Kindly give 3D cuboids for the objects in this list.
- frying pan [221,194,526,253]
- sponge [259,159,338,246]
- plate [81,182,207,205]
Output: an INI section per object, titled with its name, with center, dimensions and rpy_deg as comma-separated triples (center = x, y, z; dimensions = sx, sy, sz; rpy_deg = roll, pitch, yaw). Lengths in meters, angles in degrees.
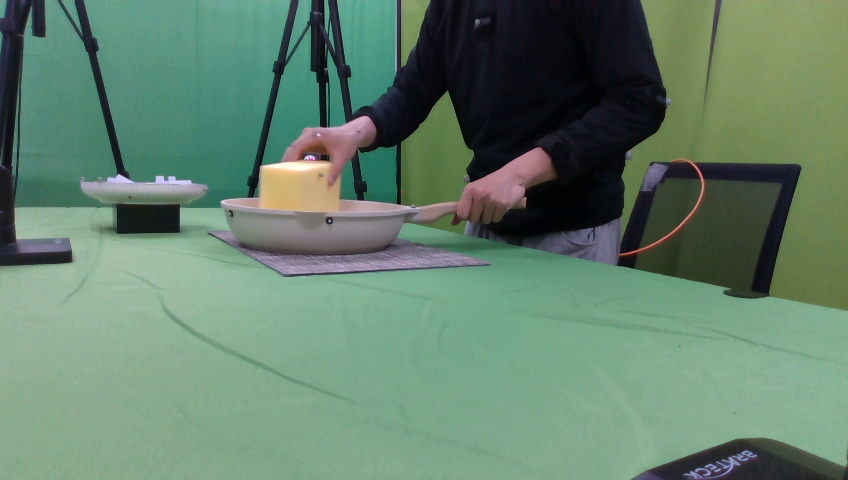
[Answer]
[frying pan]
center = -0.070, -0.043, 0.984
dimensions = 0.489, 0.102, 0.306
rpy_deg = -7, 9, -5
[sponge]
center = -0.195, -0.064, 0.961
dimensions = 0.061, 0.118, 0.207
rpy_deg = 5, 11, 6
[plate]
center = -0.505, -0.086, 1.100
dimensions = 0.208, 0.039, 0.207
rpy_deg = 1, 6, 0
